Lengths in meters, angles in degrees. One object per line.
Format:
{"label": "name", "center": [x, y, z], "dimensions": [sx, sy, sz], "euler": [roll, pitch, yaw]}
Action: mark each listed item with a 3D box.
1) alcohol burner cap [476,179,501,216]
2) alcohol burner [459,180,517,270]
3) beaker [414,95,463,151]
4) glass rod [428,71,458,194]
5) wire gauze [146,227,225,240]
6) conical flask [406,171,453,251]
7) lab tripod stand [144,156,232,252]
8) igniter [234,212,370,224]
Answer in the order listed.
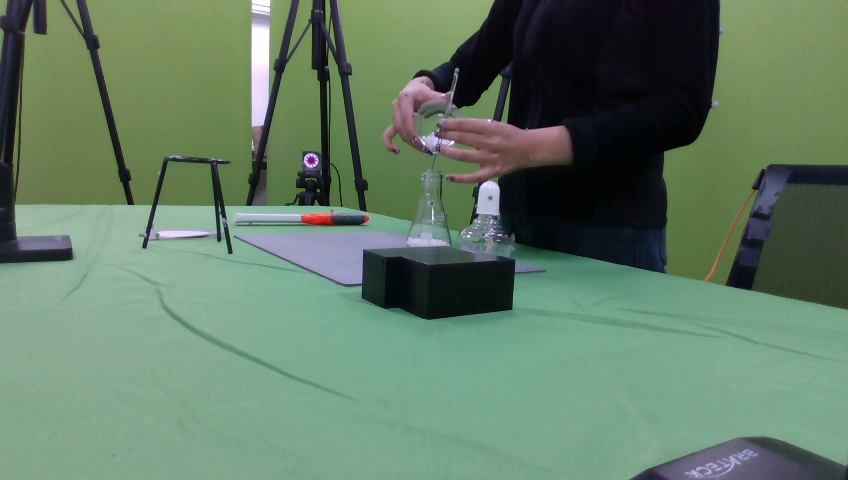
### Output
{"label": "alcohol burner cap", "center": [0.086, -0.057, 0.801], "dimensions": [0.034, 0.048, 0.034], "euler": [4, 3, 0]}
{"label": "alcohol burner", "center": [0.086, -0.021, 0.805], "dimensions": [0.078, 0.119, 0.078], "euler": [3, 10, 0]}
{"label": "beaker", "center": [0.023, -0.179, 0.959], "dimensions": [0.074, 0.084, 0.100], "euler": [6, 4, 2]}
{"label": "glass rod", "center": [0.027, -0.154, 0.900], "dimensions": [0.008, 0.199, 0.008], "euler": [9, 32, -5]}
{"label": "wire gauze", "center": [-0.400, -0.012, 1.019], "dimensions": [0.122, 0.011, 0.124], "euler": [-1, 6, -26]}
{"label": "conical flask", "center": [0.011, -0.046, 0.947], "dimensions": [0.075, 0.122, 0.075], "euler": [2, 8, 0]}
{"label": "lab tripod stand", "center": [-0.325, -0.054, 0.881], "dimensions": [0.148, 0.131, 0.148], "euler": [4, 7, 0]}
{"label": "igniter", "center": [-0.247, -0.046, 1.253], "dimensions": [0.278, 0.025, 0.057], "euler": [-1, -3, -27]}
